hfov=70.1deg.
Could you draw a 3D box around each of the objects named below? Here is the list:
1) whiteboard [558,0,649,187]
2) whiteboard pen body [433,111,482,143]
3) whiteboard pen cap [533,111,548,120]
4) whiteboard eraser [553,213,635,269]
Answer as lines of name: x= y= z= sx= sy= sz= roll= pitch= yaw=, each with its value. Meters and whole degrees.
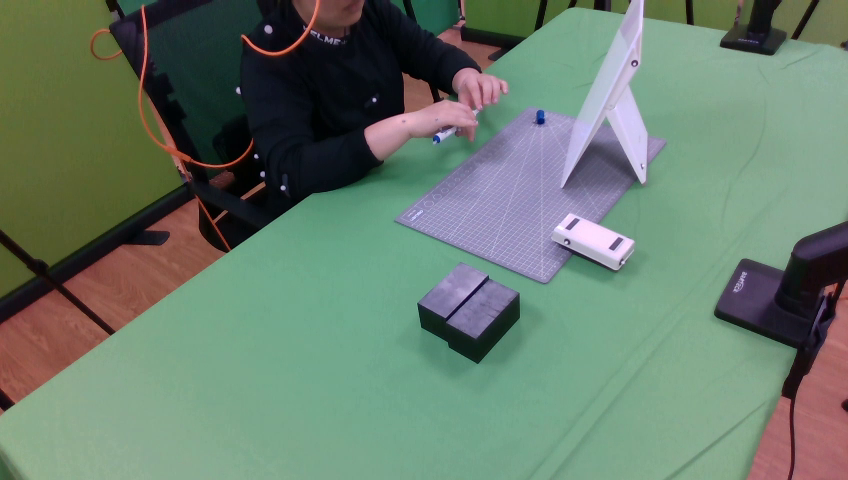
whiteboard: x=0.361 y=-0.238 z=1.026 sx=0.144 sy=0.306 sz=0.217 roll=21 pitch=45 yaw=4
whiteboard pen body: x=0.065 y=-0.214 z=1.125 sx=0.017 sy=0.017 sz=0.141 roll=25 pitch=45 yaw=32
whiteboard pen cap: x=0.238 y=-0.255 z=1.238 sx=0.018 sy=0.018 sz=0.033 roll=-28 pitch=27 yaw=-22
whiteboard eraser: x=0.257 y=0.003 z=0.918 sx=0.112 sy=0.042 sz=0.056 roll=27 pitch=49 yaw=30
